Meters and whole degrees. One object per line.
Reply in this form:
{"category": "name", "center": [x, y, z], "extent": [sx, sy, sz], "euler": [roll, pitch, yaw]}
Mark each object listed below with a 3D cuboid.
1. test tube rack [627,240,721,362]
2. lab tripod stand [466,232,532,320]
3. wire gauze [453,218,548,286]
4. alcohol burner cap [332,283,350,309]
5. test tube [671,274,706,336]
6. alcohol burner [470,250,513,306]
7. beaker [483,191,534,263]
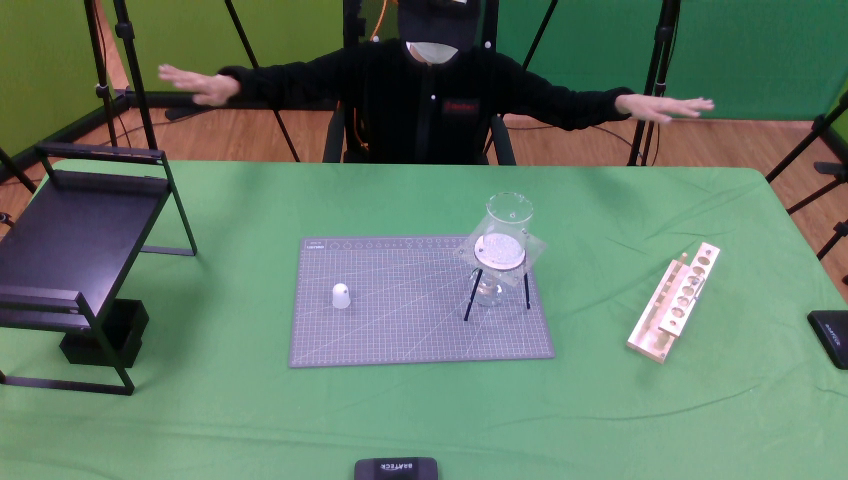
{"category": "test tube rack", "center": [0.452, 0.098, 1.087], "extent": [0.066, 0.085, 0.242], "euler": [28, 51, 22]}
{"category": "lab tripod stand", "center": [0.125, 0.059, 1.065], "extent": [0.148, 0.132, 0.147], "euler": [1, 45, 0]}
{"category": "wire gauze", "center": [0.129, 0.014, 1.019], "extent": [0.124, 0.011, 0.121], "euler": [25, 47, 25]}
{"category": "alcohol burner cap", "center": [-0.148, 0.096, 1.075], "extent": [0.034, 0.048, 0.033], "euler": [3, 47, -3]}
{"category": "test tube", "center": [0.429, 0.112, 1.004], "extent": [0.017, 0.151, 0.017], "euler": [4, 43, -4]}
{"category": "alcohol burner", "center": [0.121, 0.062, 1.076], "extent": [0.078, 0.120, 0.077], "euler": [1, 47, 0]}
{"category": "beaker", "center": [0.135, -0.020, 0.983], "extent": [0.073, 0.101, 0.084], "euler": [28, 50, 23]}
